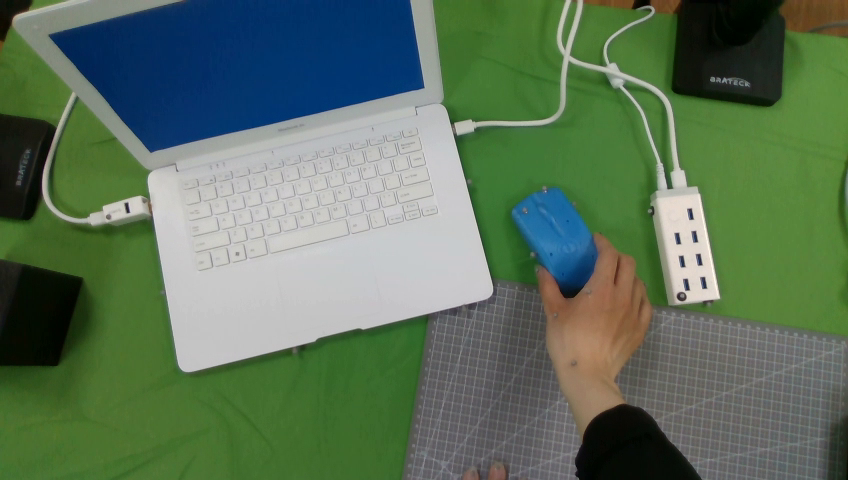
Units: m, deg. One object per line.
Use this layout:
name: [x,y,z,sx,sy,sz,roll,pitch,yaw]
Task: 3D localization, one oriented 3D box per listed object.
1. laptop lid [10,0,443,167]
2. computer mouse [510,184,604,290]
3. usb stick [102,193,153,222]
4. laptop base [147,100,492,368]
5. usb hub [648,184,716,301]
laptop lid: [-0.161,-0.175,0.598,0.357,0.244,0.013,-14,64,1]
computer mouse: [0.144,-0.006,0.661,0.063,0.041,0.116,-27,74,0]
usb stick: [-0.327,-0.038,0.682,0.059,0.027,0.021,-14,82,-5]
laptop base: [-0.121,-0.011,0.683,0.354,0.023,0.234,-14,82,0]
usb hub: [0.280,0.003,0.662,0.049,0.025,0.124,-6,79,2]
